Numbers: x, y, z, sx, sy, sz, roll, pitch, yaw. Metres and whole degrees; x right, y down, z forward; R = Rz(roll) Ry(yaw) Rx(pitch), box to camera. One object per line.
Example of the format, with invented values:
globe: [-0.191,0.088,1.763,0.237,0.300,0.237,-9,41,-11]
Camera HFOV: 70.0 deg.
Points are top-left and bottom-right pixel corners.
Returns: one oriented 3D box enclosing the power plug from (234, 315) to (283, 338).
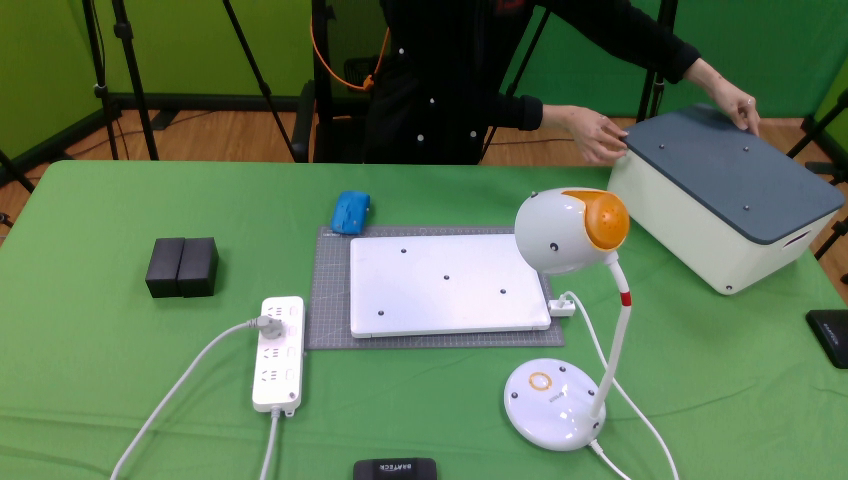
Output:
power plug: [-0.269,0.143,1.000,0.072,0.053,0.035,4,47,2]

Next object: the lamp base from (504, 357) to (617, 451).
lamp base: [0.220,0.211,0.903,0.160,0.181,0.178,-33,59,-30]

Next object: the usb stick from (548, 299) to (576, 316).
usb stick: [0.239,0.121,1.084,0.059,0.027,0.021,-1,51,-1]

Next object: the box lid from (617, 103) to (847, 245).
box lid: [0.586,-0.143,1.171,0.263,0.015,0.369,-22,50,-23]

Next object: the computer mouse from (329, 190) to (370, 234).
computer mouse: [-0.150,-0.061,1.232,0.063,0.041,0.116,10,48,4]

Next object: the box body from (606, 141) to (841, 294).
box body: [0.583,-0.088,1.230,0.254,0.161,0.361,-22,52,-23]

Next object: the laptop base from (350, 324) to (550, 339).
laptop base: [0.039,0.081,1.124,0.355,0.023,0.234,-2,43,-6]

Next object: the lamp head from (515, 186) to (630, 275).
lamp head: [0.188,-0.013,0.728,0.112,0.112,0.122,-25,9,-25]

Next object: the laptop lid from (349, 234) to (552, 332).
laptop lid: [0.040,0.071,1.118,0.357,0.013,0.240,0,44,-5]

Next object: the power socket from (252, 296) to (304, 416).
power socket: [-0.238,0.181,0.997,0.072,0.033,0.225,-3,47,-5]
